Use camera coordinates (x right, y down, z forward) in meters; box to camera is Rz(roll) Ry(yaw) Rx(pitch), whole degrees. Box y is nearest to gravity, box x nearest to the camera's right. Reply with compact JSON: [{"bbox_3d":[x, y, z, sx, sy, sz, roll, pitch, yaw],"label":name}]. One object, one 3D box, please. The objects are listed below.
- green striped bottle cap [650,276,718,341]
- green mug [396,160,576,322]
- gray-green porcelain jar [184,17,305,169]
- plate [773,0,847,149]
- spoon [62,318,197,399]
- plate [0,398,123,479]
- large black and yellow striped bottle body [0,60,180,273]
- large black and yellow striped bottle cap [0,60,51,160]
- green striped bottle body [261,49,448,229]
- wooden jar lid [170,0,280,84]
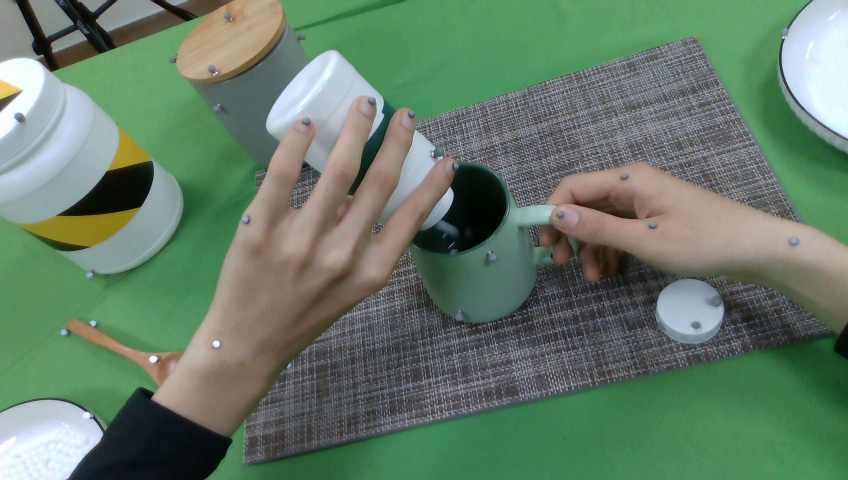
[{"bbox_3d":[0.184,0.048,0.430,0.044,0.020,0.044,-9,52,12],"label":"green striped bottle cap"},{"bbox_3d":[0.048,0.001,0.448,0.125,0.106,0.091,-8,57,14],"label":"green mug"},{"bbox_3d":[-0.157,-0.141,0.591,0.105,0.128,0.105,-9,53,13],"label":"gray-green porcelain jar"},{"bbox_3d":[0.383,-0.136,0.465,0.207,0.039,0.205,-8,58,14],"label":"plate"},{"bbox_3d":[-0.272,0.098,0.550,0.192,0.022,0.041,14,84,25],"label":"spoon"},{"bbox_3d":[-0.326,0.231,0.478,0.209,0.038,0.207,-8,58,13],"label":"plate"},{"bbox_3d":[-0.339,-0.063,0.572,0.130,0.186,0.129,-8,58,14],"label":"large black and yellow striped bottle body"},{"bbox_3d":[-0.364,-0.104,0.502,0.115,0.019,0.114,-8,57,13],"label":"large black and yellow striped bottle cap"},{"bbox_3d":[-0.037,-0.056,0.382,0.063,0.120,0.062,-33,35,27],"label":"green striped bottle body"},{"bbox_3d":[-0.175,-0.176,0.542,0.108,0.021,0.107,-10,56,16],"label":"wooden jar lid"}]
